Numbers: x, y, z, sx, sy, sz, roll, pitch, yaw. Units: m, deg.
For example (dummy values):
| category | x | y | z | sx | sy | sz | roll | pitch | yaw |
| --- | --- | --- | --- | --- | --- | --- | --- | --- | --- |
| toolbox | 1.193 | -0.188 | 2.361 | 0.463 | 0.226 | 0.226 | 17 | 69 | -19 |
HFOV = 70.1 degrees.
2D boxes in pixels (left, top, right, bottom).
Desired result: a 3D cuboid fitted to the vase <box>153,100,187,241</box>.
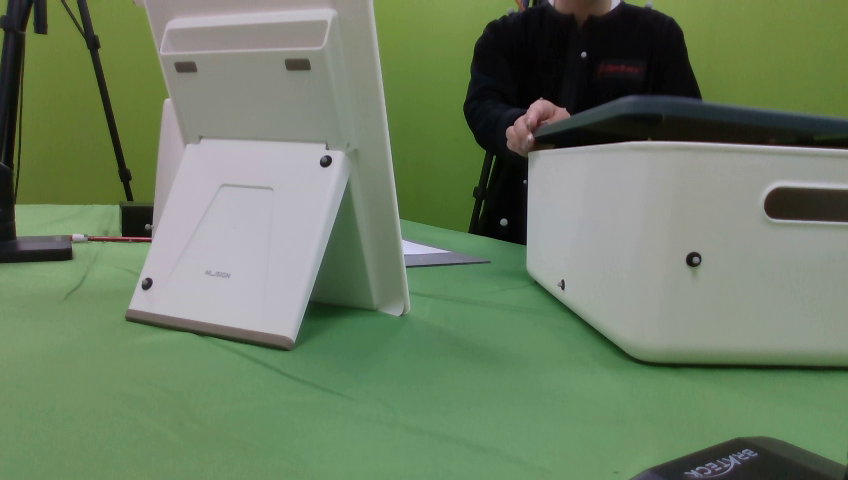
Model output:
| category | x | y | z | sx | sy | sz | roll | pitch | yaw |
| --- | --- | --- | --- | --- | --- | --- | --- | --- | --- |
| vase | -0.278 | -0.066 | 0.736 | 0.098 | 0.200 | 0.098 | 2 | 9 | 0 |

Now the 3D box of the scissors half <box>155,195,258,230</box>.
| category | x | y | z | sx | sy | sz | roll | pitch | yaw |
| --- | --- | --- | --- | --- | --- | --- | --- | --- | --- |
| scissors half | -0.378 | -0.051 | 1.058 | 0.176 | 0.040 | 0.012 | 20 | 22 | -31 |

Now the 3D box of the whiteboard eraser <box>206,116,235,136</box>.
| category | x | y | z | sx | sy | sz | roll | pitch | yaw |
| --- | --- | --- | --- | --- | --- | --- | --- | --- | --- |
| whiteboard eraser | -0.449 | -0.251 | 1.335 | 0.056 | 0.042 | 0.112 | 1 | 7 | -22 |

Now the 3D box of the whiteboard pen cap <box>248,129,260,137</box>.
| category | x | y | z | sx | sy | sz | roll | pitch | yaw |
| --- | --- | --- | --- | --- | --- | --- | --- | --- | --- |
| whiteboard pen cap | -0.373 | -0.235 | 1.326 | 0.018 | 0.018 | 0.033 | -3 | 12 | -35 |

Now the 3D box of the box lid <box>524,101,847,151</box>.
| category | x | y | z | sx | sy | sz | roll | pitch | yaw |
| --- | --- | --- | --- | --- | --- | --- | --- | --- | --- |
| box lid | 0.260 | -0.097 | 0.588 | 0.264 | 0.015 | 0.371 | 4 | 6 | -4 |

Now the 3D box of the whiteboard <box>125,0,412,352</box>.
| category | x | y | z | sx | sy | sz | roll | pitch | yaw |
| --- | --- | --- | --- | --- | --- | --- | --- | --- | --- |
| whiteboard | -0.151 | -0.049 | 0.472 | 0.216 | 0.305 | 0.144 | 6 | 27 | 24 |

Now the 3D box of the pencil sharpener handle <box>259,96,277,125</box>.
| category | x | y | z | sx | sy | sz | roll | pitch | yaw |
| --- | --- | --- | --- | --- | --- | --- | --- | --- | --- |
| pencil sharpener handle | -0.373 | -0.304 | 1.425 | 0.036 | 0.067 | 0.030 | 14 | -1 | -37 |

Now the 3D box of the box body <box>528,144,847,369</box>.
| category | x | y | z | sx | sy | sz | roll | pitch | yaw |
| --- | --- | --- | --- | --- | --- | --- | --- | --- | --- |
| box body | 0.258 | -0.005 | 0.591 | 0.254 | 0.160 | 0.363 | 2 | 7 | -4 |

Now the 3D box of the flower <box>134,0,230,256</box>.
| category | x | y | z | sx | sy | sz | roll | pitch | yaw |
| --- | --- | --- | --- | --- | --- | --- | --- | --- | --- |
| flower | -0.282 | -0.146 | 0.713 | 0.038 | 0.362 | 0.044 | -23 | 23 | -30 |

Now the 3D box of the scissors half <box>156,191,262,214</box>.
| category | x | y | z | sx | sy | sz | roll | pitch | yaw |
| --- | --- | --- | --- | --- | --- | --- | --- | --- | --- |
| scissors half | -0.371 | -0.068 | 1.051 | 0.176 | 0.040 | 0.013 | 2 | 25 | -24 |

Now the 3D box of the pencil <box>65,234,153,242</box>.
| category | x | y | z | sx | sy | sz | roll | pitch | yaw |
| --- | --- | --- | --- | --- | --- | --- | --- | --- | --- |
| pencil | -0.429 | -0.001 | 0.911 | 0.195 | 0.012 | 0.012 | 1 | 8 | -19 |

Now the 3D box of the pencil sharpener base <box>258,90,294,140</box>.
| category | x | y | z | sx | sy | sz | roll | pitch | yaw |
| --- | --- | --- | --- | --- | --- | --- | --- | --- | --- |
| pencil sharpener base | -0.341 | -0.285 | 1.388 | 0.062 | 0.107 | 0.076 | -3 | 9 | -36 |

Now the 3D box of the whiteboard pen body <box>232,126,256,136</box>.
| category | x | y | z | sx | sy | sz | roll | pitch | yaw |
| --- | --- | --- | --- | --- | --- | --- | --- | --- | --- |
| whiteboard pen body | -0.407 | -0.247 | 1.372 | 0.017 | 0.017 | 0.140 | -3 | 13 | -35 |
